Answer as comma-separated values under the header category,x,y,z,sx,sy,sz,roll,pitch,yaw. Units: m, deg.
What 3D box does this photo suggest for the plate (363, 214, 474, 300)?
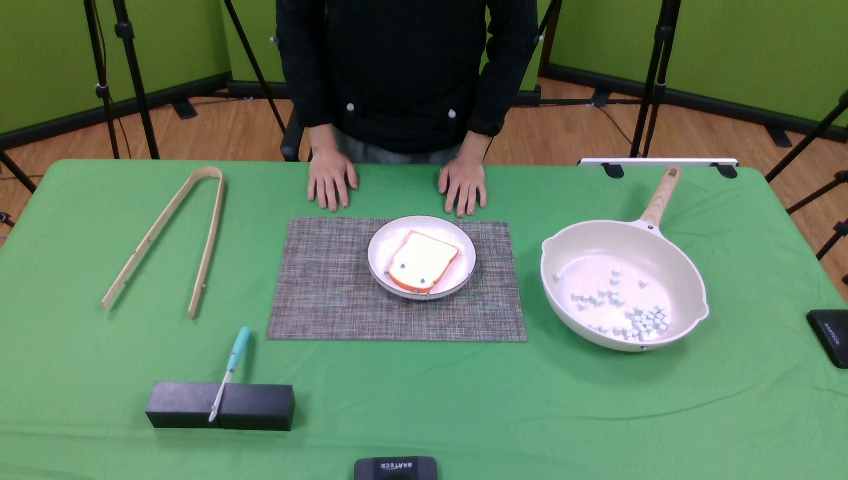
category,x,y,z,sx,sy,sz,roll,pitch,yaw
plate,-0.010,0.036,1.146,0.208,0.039,0.206,3,46,-2

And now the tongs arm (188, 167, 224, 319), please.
category,x,y,z,sx,sy,sz,roll,pitch,yaw
tongs arm,-0.420,-0.009,1.170,0.028,0.028,0.385,-3,47,-4

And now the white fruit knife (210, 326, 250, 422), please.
category,x,y,z,sx,sy,sz,roll,pitch,yaw
white fruit knife,-0.301,0.201,0.942,0.016,0.027,0.206,1,32,-2

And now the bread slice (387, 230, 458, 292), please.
category,x,y,z,sx,sy,sz,roll,pitch,yaw
bread slice,-0.007,0.043,1.142,0.107,0.018,0.134,18,46,14

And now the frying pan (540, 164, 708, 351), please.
category,x,y,z,sx,sy,sz,roll,pitch,yaw
frying pan,0.407,0.012,1.160,0.306,0.103,0.486,26,58,18

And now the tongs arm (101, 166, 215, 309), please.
category,x,y,z,sx,sy,sz,roll,pitch,yaw
tongs arm,-0.499,-0.018,1.166,0.051,0.026,0.382,8,45,2
